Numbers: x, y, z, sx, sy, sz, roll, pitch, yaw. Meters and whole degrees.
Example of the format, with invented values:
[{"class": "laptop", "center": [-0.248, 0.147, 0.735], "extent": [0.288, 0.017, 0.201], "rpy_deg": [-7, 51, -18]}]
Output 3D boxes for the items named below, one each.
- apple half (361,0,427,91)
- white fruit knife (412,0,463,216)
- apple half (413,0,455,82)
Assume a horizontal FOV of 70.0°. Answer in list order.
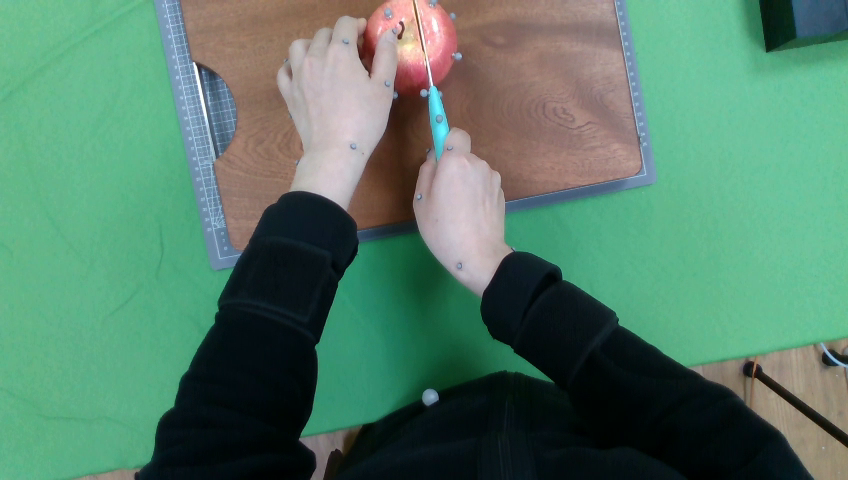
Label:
[{"class": "apple half", "center": [-0.028, -0.170, 0.534], "extent": [0.053, 0.074, 0.081], "rpy_deg": [-11, 96, 5]}, {"class": "white fruit knife", "center": [0.006, -0.123, 0.512], "extent": [0.016, 0.027, 0.207], "rpy_deg": [-12, 92, -5]}, {"class": "apple half", "center": [0.010, -0.179, 0.534], "extent": [0.033, 0.081, 0.081], "rpy_deg": [-12, 92, 0]}]
